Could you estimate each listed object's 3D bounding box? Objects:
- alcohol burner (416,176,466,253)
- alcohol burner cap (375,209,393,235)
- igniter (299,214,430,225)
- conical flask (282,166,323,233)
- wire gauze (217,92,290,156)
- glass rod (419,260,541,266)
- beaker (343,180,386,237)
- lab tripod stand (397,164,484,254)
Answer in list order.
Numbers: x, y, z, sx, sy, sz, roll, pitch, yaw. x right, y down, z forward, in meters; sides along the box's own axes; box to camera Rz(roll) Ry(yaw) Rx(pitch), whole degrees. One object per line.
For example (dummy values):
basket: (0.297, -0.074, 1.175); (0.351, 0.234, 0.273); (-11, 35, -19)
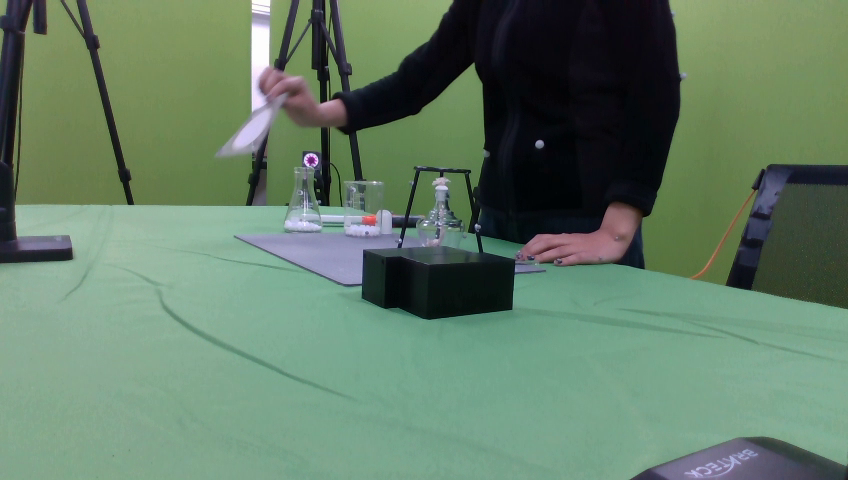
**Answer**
alcohol burner: (0.027, -0.039, 0.934); (0.078, 0.119, 0.078); (2, 9, 0)
alcohol burner cap: (-0.075, -0.035, 1.150); (0.034, 0.048, 0.034); (2, 7, 0)
igniter: (-0.123, -0.044, 1.281); (0.278, 0.025, 0.057); (0, -2, -19)
conical flask: (-0.225, -0.077, 1.130); (0.075, 0.122, 0.075); (2, 8, 0)
wire gauze: (-0.277, -0.186, 0.986); (0.124, 0.121, 0.011); (-3, -39, 44)
glass rod: (0.080, 0.031, 0.807); (0.201, 0.008, 0.008); (1, 6, -32)
beaker: (-0.111, -0.058, 1.090); (0.083, 0.100, 0.074); (6, 8, 34)
lab tripod stand: (0.029, -0.049, 0.930); (0.148, 0.131, 0.148); (4, 6, 0)
